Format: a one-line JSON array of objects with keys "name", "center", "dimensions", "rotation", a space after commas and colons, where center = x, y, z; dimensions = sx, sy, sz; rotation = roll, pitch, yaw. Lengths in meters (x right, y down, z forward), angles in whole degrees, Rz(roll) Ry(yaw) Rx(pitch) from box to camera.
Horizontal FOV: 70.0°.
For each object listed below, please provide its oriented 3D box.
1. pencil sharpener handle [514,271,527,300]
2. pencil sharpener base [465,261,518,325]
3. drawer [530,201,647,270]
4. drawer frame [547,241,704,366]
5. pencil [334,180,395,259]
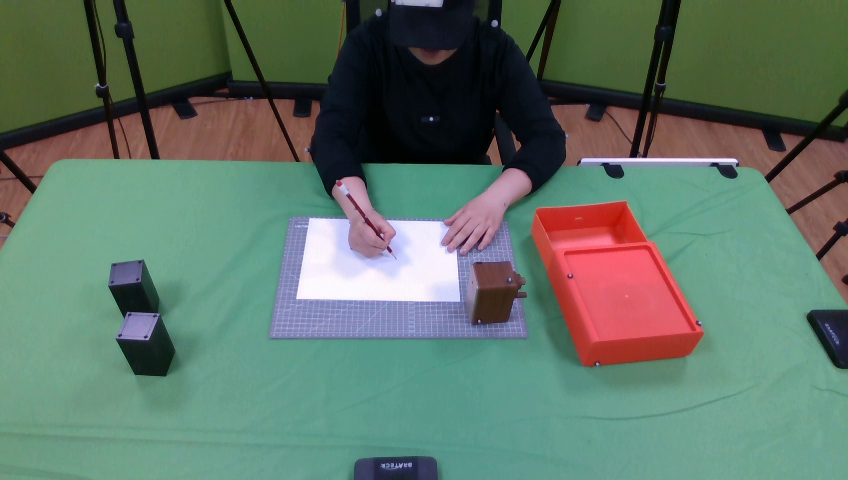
[{"name": "pencil sharpener handle", "center": [0.169, 0.081, 1.051], "dimensions": [0.031, 0.068, 0.035], "rotation": [-3, 48, -7]}, {"name": "pencil sharpener base", "center": [0.117, 0.093, 1.053], "dimensions": [0.077, 0.107, 0.061], "rotation": [-3, 46, -7]}, {"name": "drawer", "center": [0.329, 0.025, 1.159], "dimensions": [0.195, 0.073, 0.210], "rotation": [-5, 46, -9]}, {"name": "drawer frame", "center": [0.348, 0.106, 1.077], "dimensions": [0.202, 0.083, 0.212], "rotation": [-4, 47, -9]}, {"name": "pencil", "center": [-0.106, -0.035, 1.122], "dimensions": [0.012, 0.195, 0.012], "rotation": [-27, 28, 16]}]
